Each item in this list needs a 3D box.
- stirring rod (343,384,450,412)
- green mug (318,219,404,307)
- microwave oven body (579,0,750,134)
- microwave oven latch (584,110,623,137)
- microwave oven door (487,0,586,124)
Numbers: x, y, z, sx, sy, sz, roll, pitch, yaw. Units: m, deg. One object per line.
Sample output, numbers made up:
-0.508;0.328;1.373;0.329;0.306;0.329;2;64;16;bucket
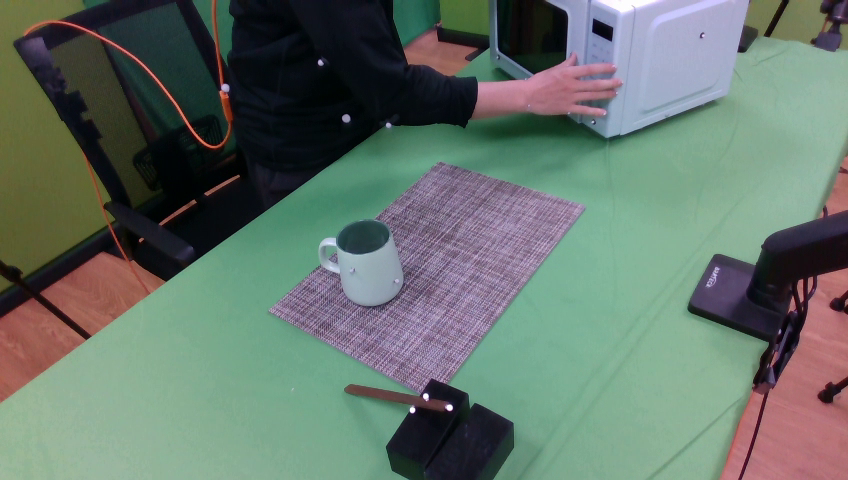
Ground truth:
-0.037;0.185;0.714;0.175;0.006;0.014;-4;22;43;stirring rod
-0.095;0.032;0.876;0.125;0.105;0.092;8;43;17;green mug
0.382;-0.445;1.246;0.327;0.261;0.437;-22;42;-16;microwave oven body
0.337;-0.223;1.142;0.030;0.029;0.078;-21;42;-14;microwave oven latch
0.229;-0.419;1.230;0.039;0.245;0.352;-21;42;-15;microwave oven door
